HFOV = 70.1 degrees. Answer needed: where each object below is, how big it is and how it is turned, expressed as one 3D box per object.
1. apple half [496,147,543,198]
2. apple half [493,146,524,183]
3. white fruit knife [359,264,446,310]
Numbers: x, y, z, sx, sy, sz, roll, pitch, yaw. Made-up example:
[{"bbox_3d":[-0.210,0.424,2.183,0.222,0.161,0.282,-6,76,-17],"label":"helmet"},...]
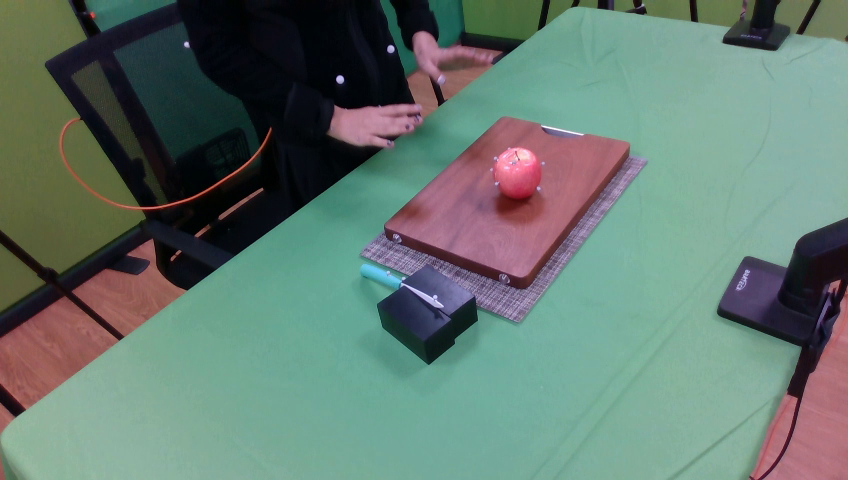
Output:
[{"bbox_3d":[0.164,-0.104,0.991,0.081,0.075,0.053,-31,48,-28],"label":"apple half"},{"bbox_3d":[0.139,-0.122,1.015,0.081,0.081,0.032,-34,50,-25],"label":"apple half"},{"bbox_3d":[-0.034,0.066,0.870,0.016,0.027,0.205,-37,33,-27],"label":"white fruit knife"}]
